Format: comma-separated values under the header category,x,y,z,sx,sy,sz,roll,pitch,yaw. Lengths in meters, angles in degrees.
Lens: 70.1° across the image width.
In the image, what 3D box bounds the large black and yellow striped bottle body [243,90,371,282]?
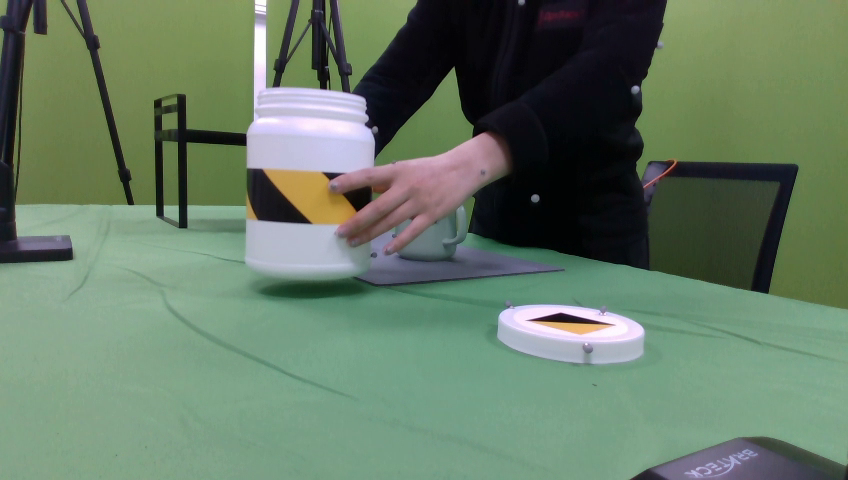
category,x,y,z,sx,sy,sz,roll,pitch,yaw
large black and yellow striped bottle body,-0.121,-0.057,0.630,0.131,0.184,0.130,2,6,0

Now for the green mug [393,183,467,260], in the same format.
category,x,y,z,sx,sy,sz,roll,pitch,yaw
green mug,0.014,-0.026,0.859,0.093,0.105,0.124,-4,10,-43

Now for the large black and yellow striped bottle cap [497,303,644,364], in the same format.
category,x,y,z,sx,sy,sz,roll,pitch,yaw
large black and yellow striped bottle cap,0.117,0.072,0.486,0.115,0.019,0.115,1,8,0
